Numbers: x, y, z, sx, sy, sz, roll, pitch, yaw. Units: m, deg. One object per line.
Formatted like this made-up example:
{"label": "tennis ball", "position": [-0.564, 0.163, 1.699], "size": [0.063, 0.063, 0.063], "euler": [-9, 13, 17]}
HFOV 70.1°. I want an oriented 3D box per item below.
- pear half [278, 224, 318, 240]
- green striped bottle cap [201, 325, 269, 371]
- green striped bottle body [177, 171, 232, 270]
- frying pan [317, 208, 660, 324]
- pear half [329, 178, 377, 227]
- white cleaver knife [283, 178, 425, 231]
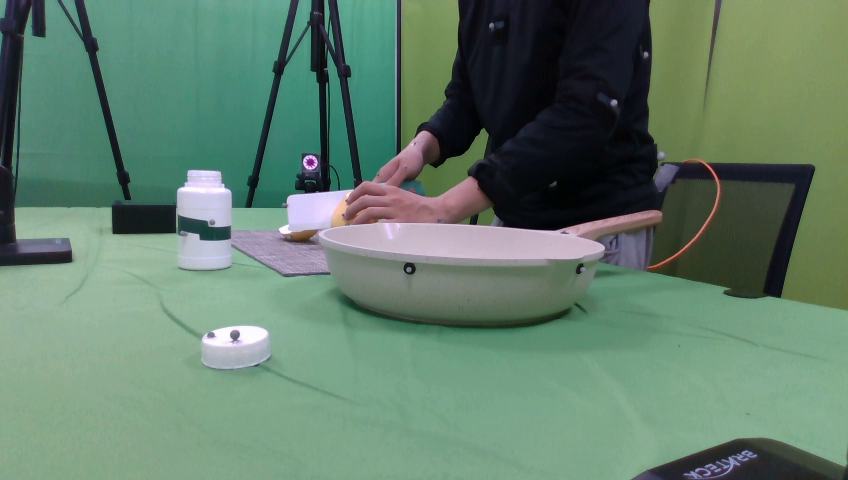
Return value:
{"label": "pear half", "position": [-0.207, -0.018, 1.019], "size": [0.087, 0.031, 0.070], "euler": [-12, 16, 35]}
{"label": "green striped bottle cap", "position": [-0.129, 0.073, 0.415], "size": [0.044, 0.020, 0.044], "euler": [2, 8, 0]}
{"label": "green striped bottle body", "position": [-0.273, -0.026, 0.753], "size": [0.063, 0.119, 0.063], "euler": [2, 7, 0]}
{"label": "frying pan", "position": [0.121, 0.006, 0.691], "size": [0.490, 0.102, 0.305], "euler": [-13, 15, -33]}
{"label": "pear half", "position": [-0.105, -0.042, 0.945], "size": [0.077, 0.110, 0.055], "euler": [-9, 14, -43]}
{"label": "white cleaver knife", "position": [-0.110, -0.062, 1.015], "size": [0.288, 0.066, 0.021], "euler": [-13, 6, -40]}
